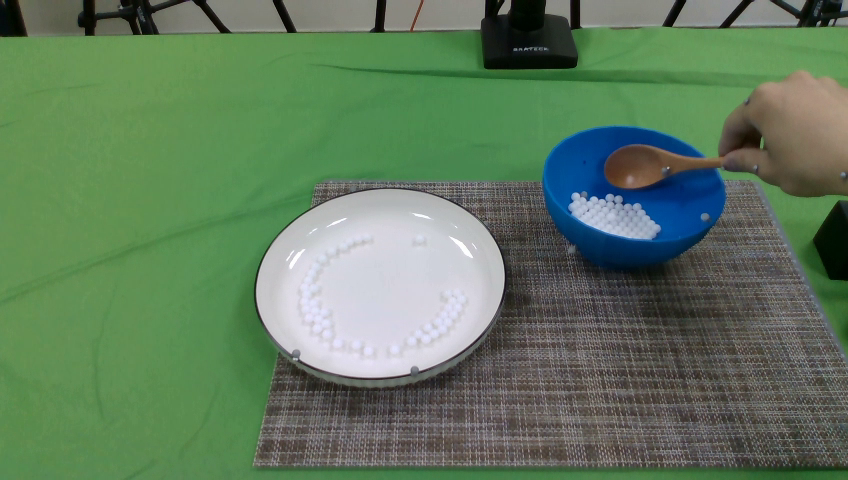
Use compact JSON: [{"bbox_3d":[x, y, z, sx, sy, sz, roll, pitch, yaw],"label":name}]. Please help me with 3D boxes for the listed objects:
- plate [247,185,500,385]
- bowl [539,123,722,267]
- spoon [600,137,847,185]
[{"bbox_3d":[-0.041,0.035,0.514,0.208,0.039,0.205,0,47,1],"label":"plate"},{"bbox_3d":[0.174,-0.029,0.540,0.151,0.077,0.150,0,47,1],"label":"bowl"},{"bbox_3d":[0.236,-0.067,0.501,0.022,0.042,0.192,-26,19,-38],"label":"spoon"}]
